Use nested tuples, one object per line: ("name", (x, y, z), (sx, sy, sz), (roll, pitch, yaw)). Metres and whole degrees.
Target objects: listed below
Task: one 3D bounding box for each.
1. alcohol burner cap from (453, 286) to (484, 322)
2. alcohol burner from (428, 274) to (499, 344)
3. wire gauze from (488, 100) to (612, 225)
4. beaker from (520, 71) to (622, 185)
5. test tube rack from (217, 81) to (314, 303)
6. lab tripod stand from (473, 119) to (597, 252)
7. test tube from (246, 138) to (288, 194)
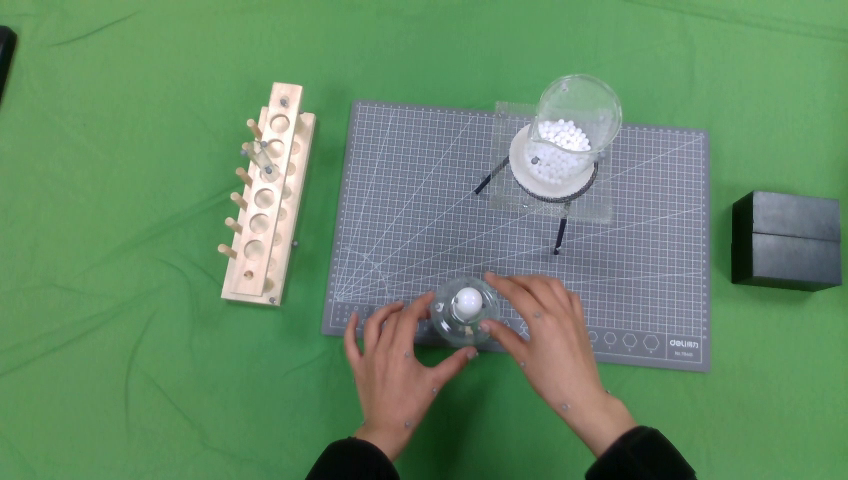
("alcohol burner cap", (0.046, 0.064, 0.618), (0.034, 0.048, 0.033), (-1, 73, 3))
("alcohol burner", (0.044, 0.072, 0.655), (0.078, 0.119, 0.077), (1, 77, -2))
("wire gauze", (0.128, -0.082, 0.612), (0.125, 0.011, 0.121), (7, 78, -1))
("beaker", (0.129, -0.097, 0.566), (0.084, 0.100, 0.073), (-28, 78, -7))
("test tube rack", (-0.187, -0.055, 0.699), (0.067, 0.085, 0.241), (8, 77, 2))
("lab tripod stand", (0.133, -0.070, 0.677), (0.148, 0.132, 0.147), (0, 75, 1))
("test tube", (-0.166, -0.076, 0.653), (0.017, 0.150, 0.017), (0, 78, -2))
